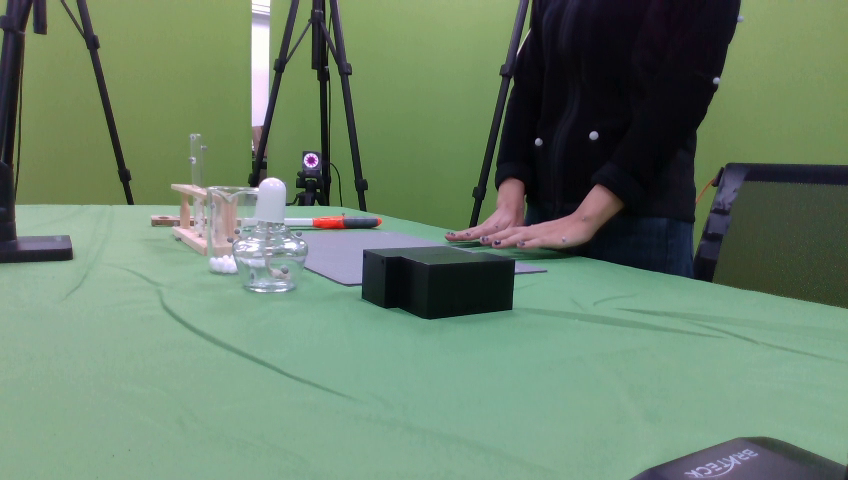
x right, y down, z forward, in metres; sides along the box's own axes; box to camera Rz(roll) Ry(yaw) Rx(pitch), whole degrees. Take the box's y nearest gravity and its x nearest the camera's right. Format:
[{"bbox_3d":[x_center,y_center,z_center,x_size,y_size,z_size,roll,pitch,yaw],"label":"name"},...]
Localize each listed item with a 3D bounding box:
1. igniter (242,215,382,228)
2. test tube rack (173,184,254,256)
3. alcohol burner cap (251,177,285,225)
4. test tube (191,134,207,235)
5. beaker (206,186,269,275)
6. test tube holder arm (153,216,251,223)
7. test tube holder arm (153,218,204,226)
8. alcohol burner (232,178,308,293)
[{"bbox_3d":[-0.212,-0.036,1.186,0.278,0.025,0.057,-2,-1,-31],"label":"igniter"},{"bbox_3d":[-0.328,-0.036,0.927,0.067,0.085,0.241,-2,9,-32],"label":"test tube rack"},{"bbox_3d":[-0.160,-0.041,0.628,0.034,0.048,0.034,9,6,-1],"label":"alcohol burner cap"},{"bbox_3d":[-0.336,-0.083,0.903,0.017,0.150,0.017,-1,5,0],"label":"test tube"},{"bbox_3d":[-0.220,-0.012,0.717,0.074,0.100,0.084,2,8,-3],"label":"beaker"},{"bbox_3d":[-0.422,-0.039,1.159,0.179,0.015,0.013,-2,43,-31],"label":"test tube holder arm"},{"bbox_3d":[-0.459,-0.034,1.132,0.088,0.015,0.010,-1,43,-30],"label":"test tube holder arm"},{"bbox_3d":[-0.161,-0.006,0.632,0.078,0.119,0.078,1,9,0],"label":"alcohol burner"}]
